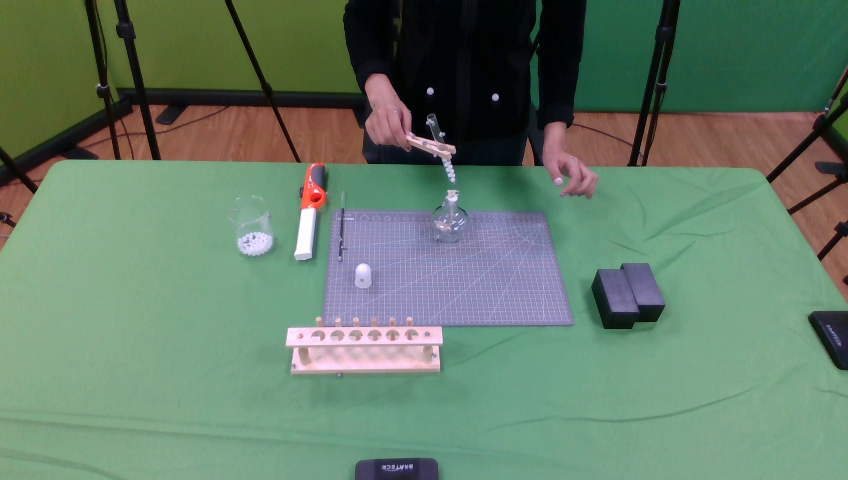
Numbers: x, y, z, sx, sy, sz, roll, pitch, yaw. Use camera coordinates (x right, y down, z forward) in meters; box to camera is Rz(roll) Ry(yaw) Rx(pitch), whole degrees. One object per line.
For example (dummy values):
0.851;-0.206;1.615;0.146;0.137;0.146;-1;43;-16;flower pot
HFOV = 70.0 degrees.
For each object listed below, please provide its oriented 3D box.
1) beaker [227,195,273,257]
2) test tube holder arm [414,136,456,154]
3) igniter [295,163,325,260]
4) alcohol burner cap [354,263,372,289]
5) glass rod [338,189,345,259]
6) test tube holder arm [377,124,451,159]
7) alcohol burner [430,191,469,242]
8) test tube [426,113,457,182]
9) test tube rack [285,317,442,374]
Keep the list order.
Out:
-0.326;-0.022;1.142;0.074;0.101;0.083;10;47;6;beaker
0.017;-0.169;1.077;0.087;0.015;0.010;18;57;29;test tube holder arm
-0.233;-0.068;1.243;0.057;0.025;0.274;-7;46;3;igniter
-0.113;0.063;1.111;0.034;0.048;0.033;2;46;-2;alcohol burner cap
-0.166;-0.036;1.227;0.008;0.008;0.198;-1;46;-4;glass rod
-0.021;-0.180;1.098;0.177;0.015;0.013;26;60;33;test tube holder arm
0.051;-0.053;1.185;0.078;0.119;0.077;2;48;-2;alcohol burner
0.033;-0.159;1.063;0.017;0.151;0.017;-12;45;12;test tube
-0.095;0.166;0.988;0.242;0.085;0.066;0;46;-4;test tube rack
